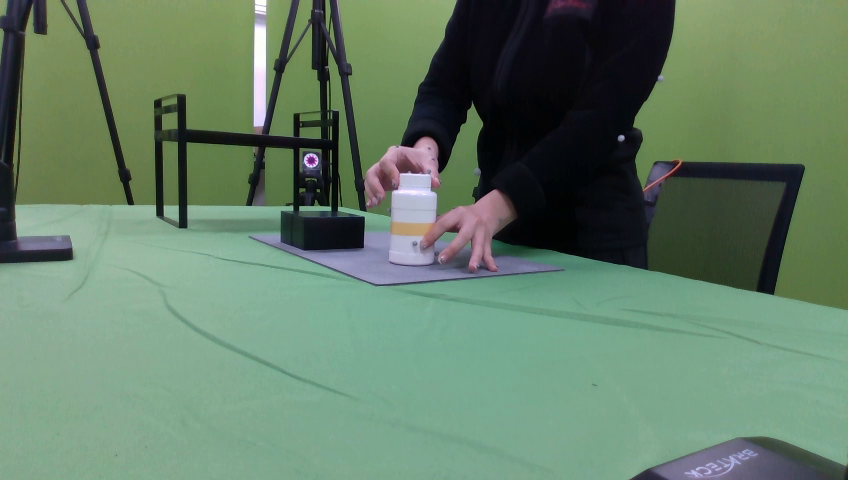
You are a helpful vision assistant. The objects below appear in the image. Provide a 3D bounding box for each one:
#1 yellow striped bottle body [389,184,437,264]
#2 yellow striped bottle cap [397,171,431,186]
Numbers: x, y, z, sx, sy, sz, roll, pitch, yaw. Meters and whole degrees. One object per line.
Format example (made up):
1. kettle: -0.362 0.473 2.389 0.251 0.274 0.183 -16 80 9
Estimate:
1. yellow striped bottle body: -0.015 -0.031 0.815 0.063 0.120 0.063 3 7 0
2. yellow striped bottle cap: -0.013 -0.082 0.809 0.044 0.018 0.044 5 7 0
